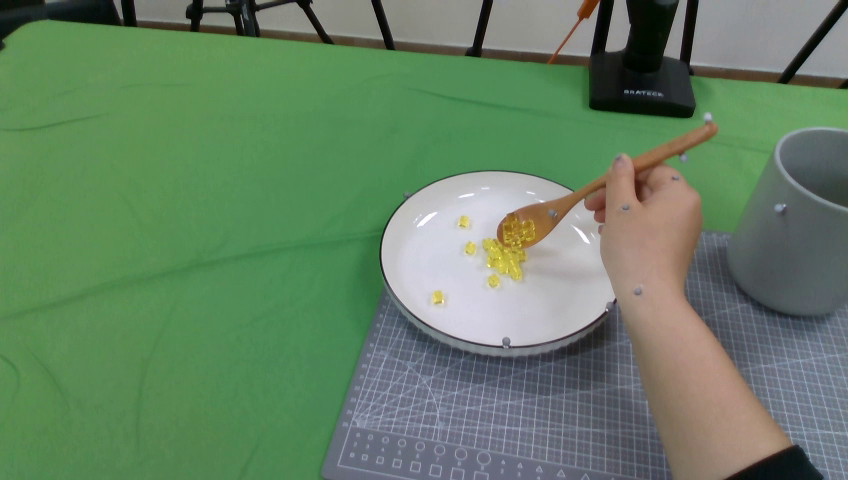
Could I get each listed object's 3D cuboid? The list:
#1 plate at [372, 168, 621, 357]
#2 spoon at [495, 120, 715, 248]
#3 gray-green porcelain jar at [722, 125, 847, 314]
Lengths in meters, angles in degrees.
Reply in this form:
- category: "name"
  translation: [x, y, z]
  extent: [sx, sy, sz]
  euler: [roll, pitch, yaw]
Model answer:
- category: "plate"
  translation: [0.060, 0.018, 0.525]
  extent: [0.208, 0.039, 0.205]
  euler: [0, 46, 0]
- category: "spoon"
  translation: [0.136, -0.042, 0.483]
  extent: [0.022, 0.193, 0.041]
  euler: [24, 49, -37]
- category: "gray-green porcelain jar"
  translation: [0.310, -0.011, 0.489]
  extent: [0.106, 0.127, 0.105]
  euler: [0, 46, 1]
